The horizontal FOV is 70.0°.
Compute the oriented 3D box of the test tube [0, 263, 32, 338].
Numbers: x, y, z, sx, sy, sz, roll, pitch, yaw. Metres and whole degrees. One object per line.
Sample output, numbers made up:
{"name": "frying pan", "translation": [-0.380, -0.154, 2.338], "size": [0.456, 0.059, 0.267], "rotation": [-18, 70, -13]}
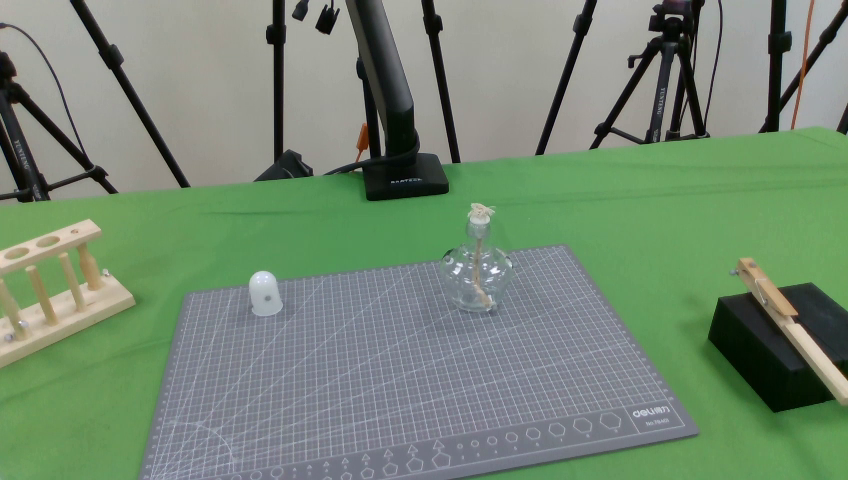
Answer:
{"name": "test tube", "translation": [-0.402, 0.031, 0.567], "size": [0.017, 0.151, 0.017], "rotation": [0, 33, 1]}

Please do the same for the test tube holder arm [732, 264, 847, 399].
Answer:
{"name": "test tube holder arm", "translation": [0.316, 0.071, 0.527], "size": [0.015, 0.013, 0.177], "rotation": [-1, 32, 0]}

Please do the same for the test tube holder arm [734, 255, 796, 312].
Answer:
{"name": "test tube holder arm", "translation": [0.315, 0.042, 0.561], "size": [0.015, 0.010, 0.087], "rotation": [-1, 33, -1]}

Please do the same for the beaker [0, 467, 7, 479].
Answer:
{"name": "beaker", "translation": [-0.354, 0.163, 0.429], "size": [0.083, 0.101, 0.073], "rotation": [9, 34, 17]}

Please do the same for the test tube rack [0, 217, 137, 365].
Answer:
{"name": "test tube rack", "translation": [-0.426, 0.069, 0.593], "size": [0.066, 0.086, 0.242], "rotation": [28, 43, 37]}

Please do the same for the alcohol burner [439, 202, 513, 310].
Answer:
{"name": "alcohol burner", "translation": [0.055, 0.013, 0.626], "size": [0.078, 0.120, 0.077], "rotation": [0, 33, 0]}

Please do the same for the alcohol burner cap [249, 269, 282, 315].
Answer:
{"name": "alcohol burner cap", "translation": [-0.170, 0.053, 0.641], "size": [0.034, 0.048, 0.033], "rotation": [-2, 32, 1]}
